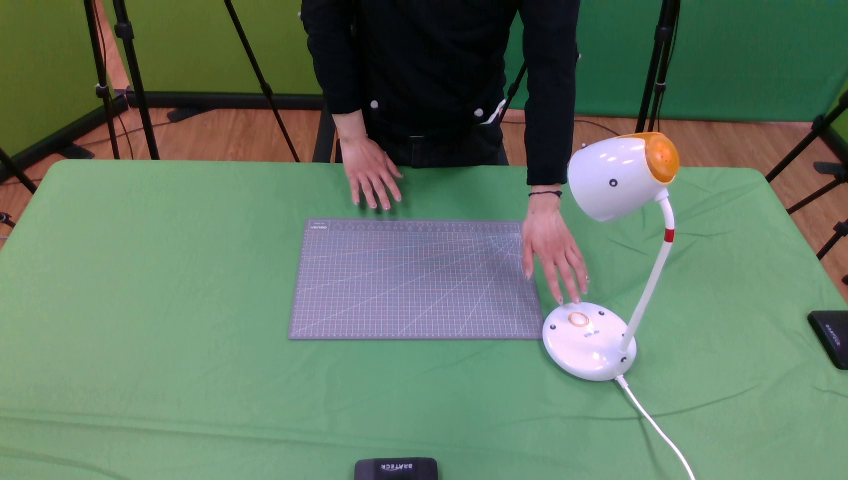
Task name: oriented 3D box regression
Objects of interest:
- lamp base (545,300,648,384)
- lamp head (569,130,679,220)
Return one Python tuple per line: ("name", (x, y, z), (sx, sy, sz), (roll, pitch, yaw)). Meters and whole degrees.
("lamp base", (0.299, 0.125, 0.983), (0.161, 0.181, 0.178), (-23, 55, -23))
("lamp head", (0.272, -0.089, 0.798), (0.113, 0.122, 0.112), (7, 78, -33))
